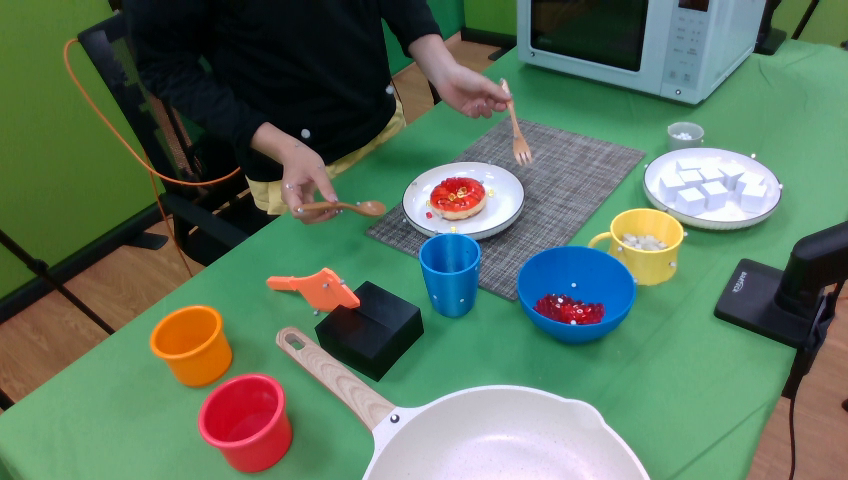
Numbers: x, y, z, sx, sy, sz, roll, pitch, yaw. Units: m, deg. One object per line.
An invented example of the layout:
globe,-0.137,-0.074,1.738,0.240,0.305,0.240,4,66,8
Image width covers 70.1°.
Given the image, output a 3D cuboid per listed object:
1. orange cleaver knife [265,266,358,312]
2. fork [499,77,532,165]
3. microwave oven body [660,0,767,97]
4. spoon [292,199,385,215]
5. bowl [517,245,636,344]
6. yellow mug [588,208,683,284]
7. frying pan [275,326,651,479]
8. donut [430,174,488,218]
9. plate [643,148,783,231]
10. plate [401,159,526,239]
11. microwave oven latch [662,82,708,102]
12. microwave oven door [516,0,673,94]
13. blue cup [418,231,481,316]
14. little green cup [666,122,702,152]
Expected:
orange cleaver knife,-0.164,0.073,0.864,0.210,0.077,0.012,-6,30,50
fork,0.159,-0.214,1.070,0.028,0.019,0.206,-14,62,8
microwave oven body,0.473,-0.517,1.313,0.438,0.261,0.327,26,51,34
spoon,-0.125,-0.051,0.899,0.041,0.021,0.195,35,18,27
bowl,0.200,0.084,0.803,0.151,0.077,0.150,-4,40,4
yellow mug,0.305,0.009,0.884,0.131,0.064,0.099,-4,40,5
frying pan,0.003,0.229,0.641,0.484,0.103,0.308,34,54,28
donut,0.058,-0.076,1.015,0.099,0.048,0.098,-6,37,5
plate,0.464,-0.080,0.986,0.207,0.039,0.206,-4,40,4
plate,0.067,-0.065,1.019,0.209,0.038,0.208,-4,40,4
microwave oven latch,0.517,-0.298,1.203,0.078,0.029,0.030,28,53,35
microwave oven door,0.344,-0.458,1.257,0.353,0.245,0.039,26,52,33
blue cup,0.040,0.053,0.843,0.092,0.100,0.092,-4,43,4
little green cup,0.471,-0.184,1.102,0.061,0.039,0.061,-5,41,5
